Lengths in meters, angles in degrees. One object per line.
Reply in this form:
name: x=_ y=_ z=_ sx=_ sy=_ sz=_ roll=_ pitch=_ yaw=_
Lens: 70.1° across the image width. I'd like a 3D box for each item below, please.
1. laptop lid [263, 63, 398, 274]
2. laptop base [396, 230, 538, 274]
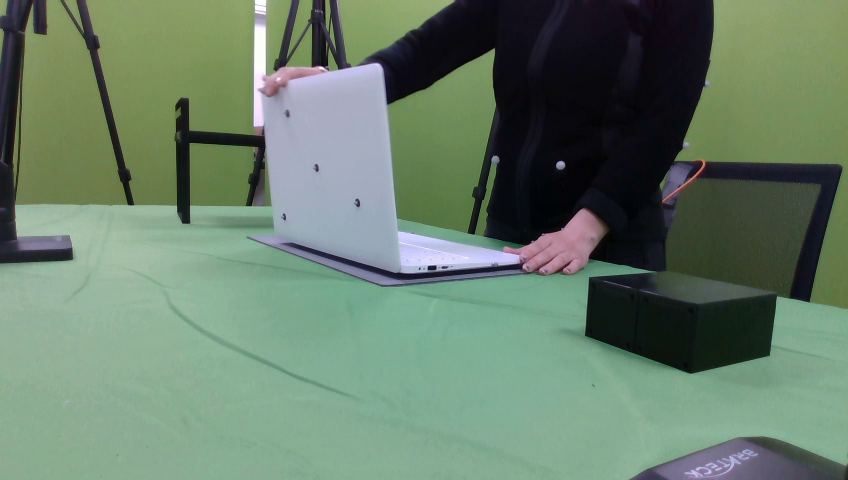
laptop lid: x=-0.138 y=-0.097 z=0.799 sx=0.013 sy=0.241 sz=0.355 roll=-9 pitch=15 yaw=-35
laptop base: x=-0.037 y=0.014 z=0.895 sx=0.237 sy=0.023 sz=0.352 roll=1 pitch=7 yaw=-38
